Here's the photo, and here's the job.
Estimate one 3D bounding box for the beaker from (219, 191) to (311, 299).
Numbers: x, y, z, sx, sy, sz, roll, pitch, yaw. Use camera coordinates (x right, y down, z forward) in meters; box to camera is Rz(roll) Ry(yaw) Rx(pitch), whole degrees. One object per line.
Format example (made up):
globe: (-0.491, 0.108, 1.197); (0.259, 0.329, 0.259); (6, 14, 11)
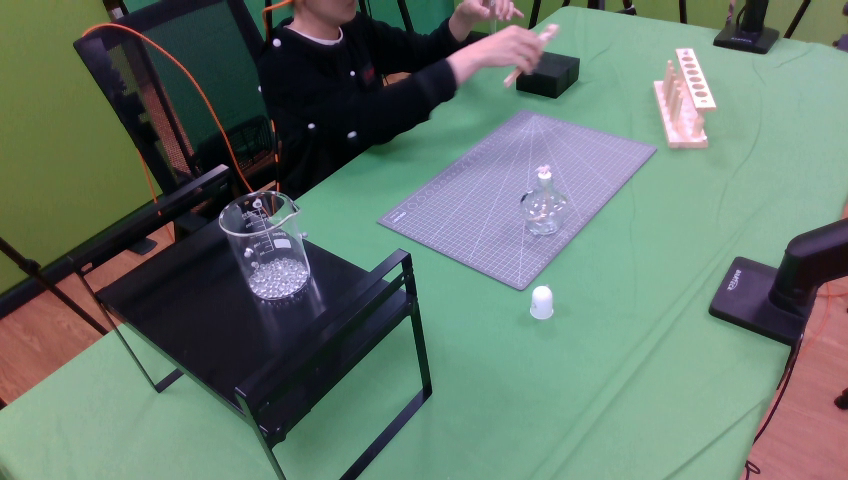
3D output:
beaker: (-0.164, 0.008, 0.654); (0.084, 0.101, 0.073); (-10, 41, -3)

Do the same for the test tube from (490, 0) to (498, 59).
test tube: (0.143, -0.442, 1.234); (0.017, 0.151, 0.017); (-3, 39, 3)

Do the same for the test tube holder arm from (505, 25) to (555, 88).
test tube holder arm: (0.204, -0.353, 1.157); (0.013, 0.015, 0.178); (20, 61, 33)

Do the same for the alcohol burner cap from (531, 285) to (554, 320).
alcohol burner cap: (0.164, 0.084, 0.838); (0.034, 0.048, 0.033); (-4, 40, 4)

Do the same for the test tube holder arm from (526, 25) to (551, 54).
test tube holder arm: (0.224, -0.388, 1.178); (0.010, 0.015, 0.088); (20, 61, 33)

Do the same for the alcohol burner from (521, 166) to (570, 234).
alcohol burner: (0.192, -0.068, 0.951); (0.078, 0.119, 0.077); (-4, 42, 4)

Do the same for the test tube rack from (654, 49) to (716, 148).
test tube rack: (0.502, -0.281, 1.176); (0.066, 0.085, 0.241); (2, 41, 11)
